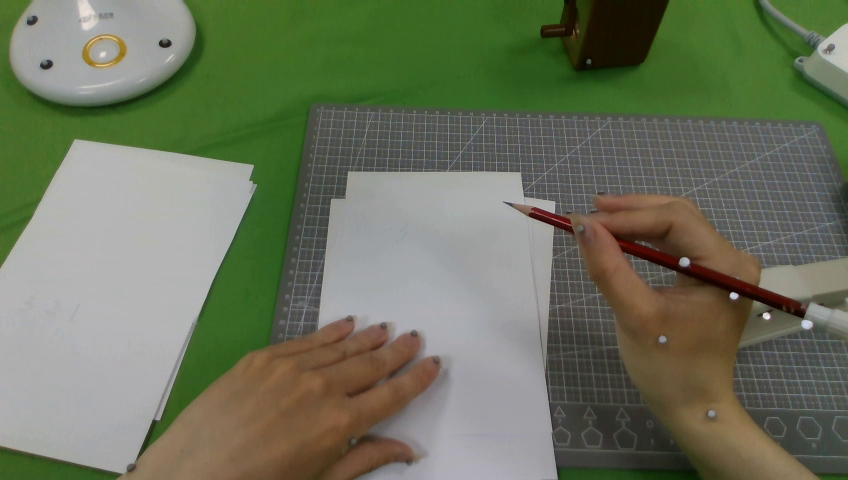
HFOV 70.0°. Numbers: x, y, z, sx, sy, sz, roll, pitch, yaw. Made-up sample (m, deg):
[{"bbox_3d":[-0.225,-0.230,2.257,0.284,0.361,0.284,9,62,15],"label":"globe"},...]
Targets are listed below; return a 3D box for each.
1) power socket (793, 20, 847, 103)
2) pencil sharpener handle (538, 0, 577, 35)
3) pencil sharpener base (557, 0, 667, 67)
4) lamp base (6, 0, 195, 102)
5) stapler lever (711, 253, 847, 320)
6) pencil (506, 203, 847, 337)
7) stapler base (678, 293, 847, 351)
[{"bbox_3d":[0.440,-0.117,0.527,0.072,0.033,0.225,-35,66,-21],"label":"power socket"},{"bbox_3d":[0.114,-0.208,0.513,0.031,0.068,0.035,-8,37,-6],"label":"pencil sharpener handle"},{"bbox_3d":[0.163,-0.213,0.533,0.077,0.108,0.061,-8,60,-6],"label":"pencil sharpener base"},{"bbox_3d":[-0.296,-0.235,0.489,0.161,0.182,0.177,-26,60,-16],"label":"lamp base"},{"bbox_3d":[0.249,0.029,0.407,0.118,0.040,0.026,-12,60,-11],"label":"stapler lever"},{"bbox_3d":[0.124,0.009,0.316,0.192,0.012,0.012,23,59,33],"label":"pencil"},{"bbox_3d":[0.247,0.043,0.427,0.131,0.024,0.041,-12,60,-11],"label":"stapler base"}]
